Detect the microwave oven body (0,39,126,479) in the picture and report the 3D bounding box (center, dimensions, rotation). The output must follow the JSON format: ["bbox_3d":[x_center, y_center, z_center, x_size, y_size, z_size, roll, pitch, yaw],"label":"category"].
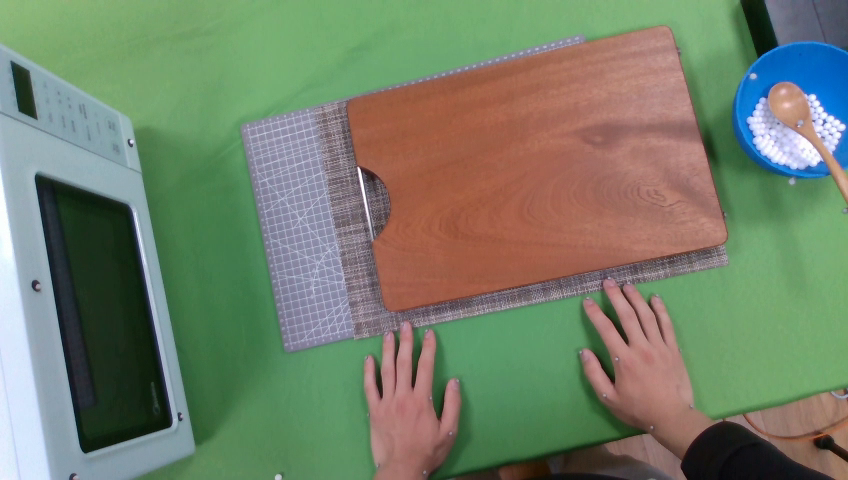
[{"bbox_3d":[-0.494,0.066,0.654,0.326,0.261,0.440,-15,83,4],"label":"microwave oven body"}]

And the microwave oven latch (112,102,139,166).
[{"bbox_3d":[-0.385,-0.130,0.762,0.030,0.029,0.079,-16,83,4],"label":"microwave oven latch"}]

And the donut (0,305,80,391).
[{"bbox_3d":[-0.439,0.120,0.678,0.099,0.048,0.099,-1,100,-9],"label":"donut"}]

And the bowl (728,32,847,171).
[{"bbox_3d":[0.409,-0.144,0.677,0.151,0.077,0.151,-1,84,7],"label":"bowl"}]

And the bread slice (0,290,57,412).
[{"bbox_3d":[-0.448,0.129,0.629,0.134,0.018,0.106,-32,84,16],"label":"bread slice"}]

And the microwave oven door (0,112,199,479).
[{"bbox_3d":[-0.343,0.067,0.633,0.039,0.244,0.354,-16,82,4],"label":"microwave oven door"}]

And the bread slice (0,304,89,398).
[{"bbox_3d":[-0.468,0.135,0.711,0.132,0.019,0.105,-6,91,-6],"label":"bread slice"}]

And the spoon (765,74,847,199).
[{"bbox_3d":[0.418,-0.101,0.641,0.041,0.022,0.192,-14,59,1],"label":"spoon"}]
